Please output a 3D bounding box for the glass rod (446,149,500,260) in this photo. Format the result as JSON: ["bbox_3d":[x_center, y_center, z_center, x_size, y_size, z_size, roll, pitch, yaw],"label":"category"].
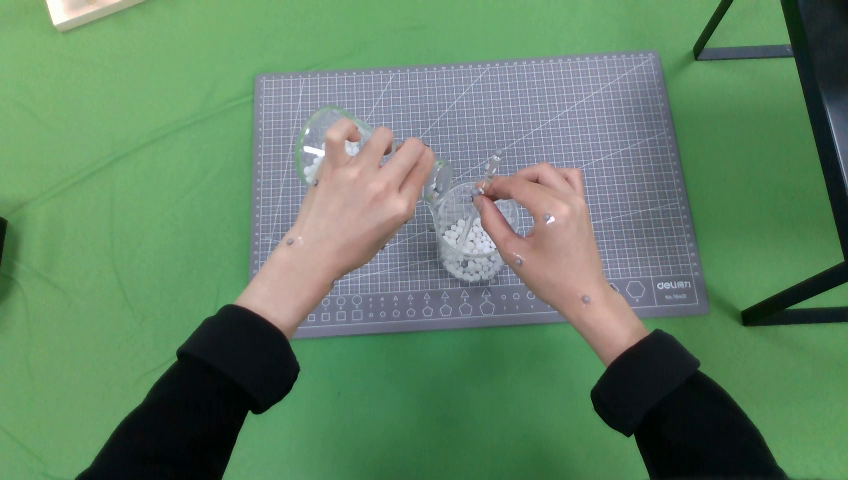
[{"bbox_3d":[0.037,-0.022,0.510,0.008,0.200,0.008,3,66,-7],"label":"glass rod"}]

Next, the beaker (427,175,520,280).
[{"bbox_3d":[0.043,-0.008,0.566,0.084,0.101,0.073,20,73,9],"label":"beaker"}]

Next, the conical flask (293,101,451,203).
[{"bbox_3d":[-0.040,-0.065,0.498,0.121,0.076,0.075,19,73,19],"label":"conical flask"}]

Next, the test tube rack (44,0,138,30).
[{"bbox_3d":[-0.331,-0.333,0.686,0.242,0.085,0.066,-24,73,-6],"label":"test tube rack"}]
